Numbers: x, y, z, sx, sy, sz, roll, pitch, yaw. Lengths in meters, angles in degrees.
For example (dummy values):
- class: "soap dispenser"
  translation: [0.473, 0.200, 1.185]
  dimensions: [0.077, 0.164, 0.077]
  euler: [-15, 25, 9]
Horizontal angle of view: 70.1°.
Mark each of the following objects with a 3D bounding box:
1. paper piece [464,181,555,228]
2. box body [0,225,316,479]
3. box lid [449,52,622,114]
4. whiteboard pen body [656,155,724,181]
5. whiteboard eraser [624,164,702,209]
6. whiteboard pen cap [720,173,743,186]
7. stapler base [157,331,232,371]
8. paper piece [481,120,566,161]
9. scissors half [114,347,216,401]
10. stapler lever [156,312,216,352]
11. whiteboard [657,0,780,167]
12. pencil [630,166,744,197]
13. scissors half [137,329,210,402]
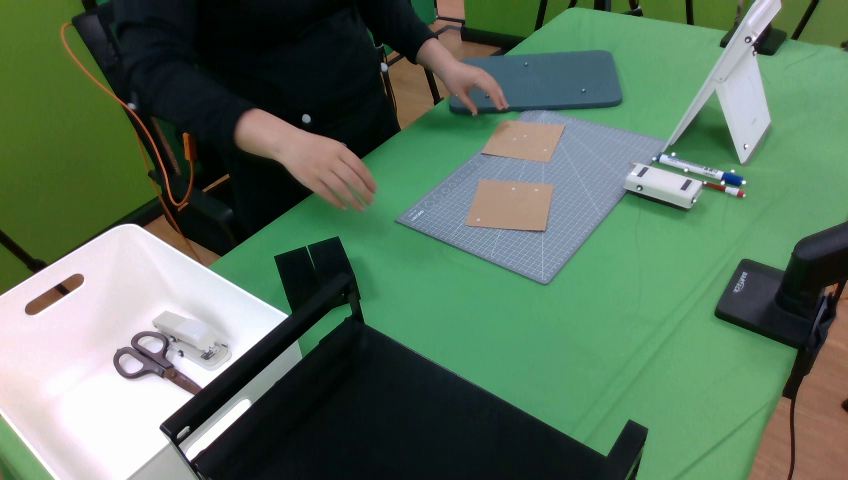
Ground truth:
- class: "paper piece"
  translation: [0.149, -0.062, 1.034]
  dimensions: [0.137, 0.009, 0.136]
  euler: [4, 37, 17]
- class: "box body"
  translation: [-0.339, 0.162, 0.728]
  dimensions: [0.361, 0.161, 0.255]
  euler: [23, 48, 31]
- class: "box lid"
  translation: [0.249, -0.358, 1.371]
  dimensions: [0.371, 0.015, 0.262]
  euler: [-1, 40, 9]
- class: "whiteboard pen body"
  translation: [0.475, -0.123, 1.052]
  dimensions: [0.139, 0.017, 0.017]
  euler: [24, 49, 32]
- class: "whiteboard eraser"
  translation: [0.396, -0.087, 1.003]
  dimensions: [0.112, 0.042, 0.056]
  euler: [22, 47, 31]
- class: "whiteboard pen cap"
  translation: [0.519, -0.103, 1.020]
  dimensions: [0.033, 0.018, 0.018]
  euler: [23, 49, 30]
- class: "stapler base"
  translation: [-0.326, 0.142, 0.849]
  dimensions: [0.129, 0.024, 0.041]
  euler: [18, 43, 32]
- class: "paper piece"
  translation: [0.197, -0.199, 1.188]
  dimensions: [0.135, 0.004, 0.135]
  euler: [10, 44, 21]
- class: "scissors half"
  translation: [-0.349, 0.185, 0.811]
  dimensions: [0.174, 0.013, 0.040]
  euler: [15, 52, 19]
- class: "stapler lever"
  translation: [-0.331, 0.122, 0.834]
  dimensions: [0.117, 0.040, 0.027]
  euler: [17, 43, 33]
- class: "whiteboard"
  translation: [0.571, -0.272, 1.038]
  dimensions: [0.143, 0.306, 0.218]
  euler: [37, 54, 17]
- class: "pencil"
  translation: [0.446, -0.103, 1.038]
  dimensions: [0.192, 0.012, 0.012]
  euler: [21, 48, 29]
- class: "scissors half"
  translation: [-0.336, 0.172, 0.822]
  dimensions: [0.040, 0.013, 0.174]
  euler: [-36, 53, -29]
